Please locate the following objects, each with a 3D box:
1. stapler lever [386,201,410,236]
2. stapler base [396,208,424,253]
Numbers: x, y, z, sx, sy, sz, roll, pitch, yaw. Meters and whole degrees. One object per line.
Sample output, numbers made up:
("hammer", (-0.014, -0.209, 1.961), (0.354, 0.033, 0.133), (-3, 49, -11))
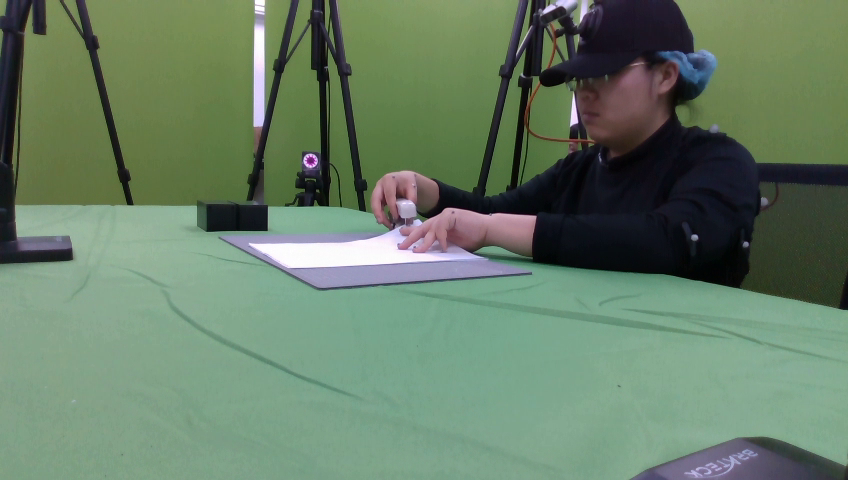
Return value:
("stapler lever", (-0.050, -0.044, 1.066), (0.027, 0.040, 0.117), (-33, 29, 2))
("stapler base", (-0.035, -0.024, 1.079), (0.041, 0.024, 0.130), (-33, 32, 2))
